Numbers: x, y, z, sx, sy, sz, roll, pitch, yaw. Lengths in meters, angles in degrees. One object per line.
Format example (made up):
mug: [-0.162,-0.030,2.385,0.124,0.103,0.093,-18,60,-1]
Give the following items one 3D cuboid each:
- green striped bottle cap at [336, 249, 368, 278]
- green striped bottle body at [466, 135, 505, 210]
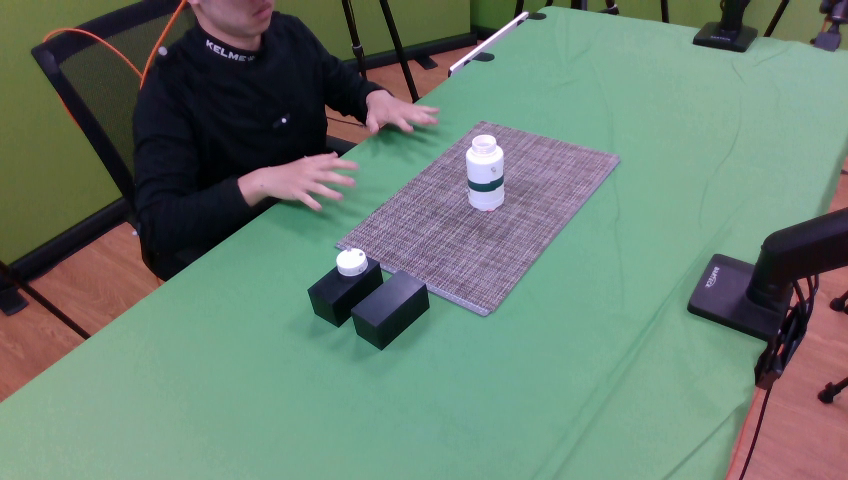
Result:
green striped bottle cap: [-0.105,0.033,0.873,0.044,0.020,0.044,-6,42,6]
green striped bottle body: [0.102,-0.114,1.006,0.063,0.120,0.063,-4,40,4]
